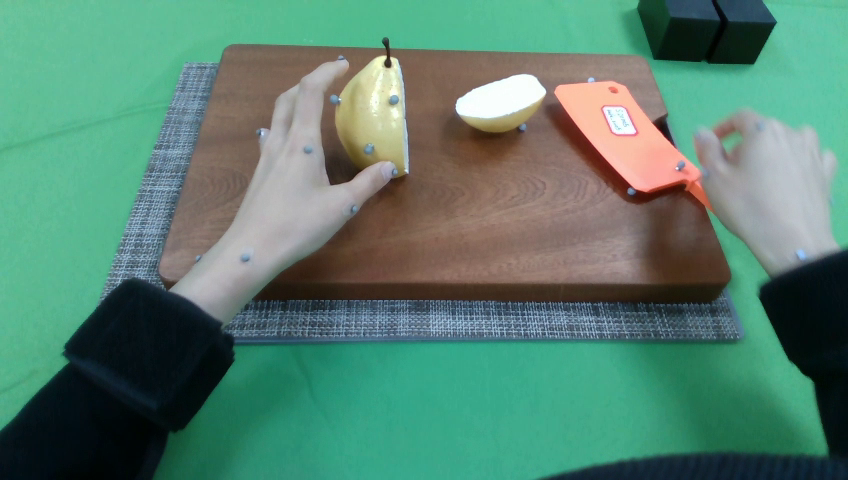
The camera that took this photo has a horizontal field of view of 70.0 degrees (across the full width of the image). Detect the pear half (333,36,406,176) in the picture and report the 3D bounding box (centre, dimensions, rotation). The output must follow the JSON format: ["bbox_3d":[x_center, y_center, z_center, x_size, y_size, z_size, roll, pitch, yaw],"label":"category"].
[{"bbox_3d":[-0.039,-0.100,0.441,0.056,0.111,0.075,-5,49,-7],"label":"pear half"}]

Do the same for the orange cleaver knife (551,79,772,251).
[{"bbox_3d":[0.183,-0.066,0.487,0.077,0.012,0.209,-21,59,-24],"label":"orange cleaver knife"}]

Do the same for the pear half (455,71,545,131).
[{"bbox_3d":[0.065,-0.112,0.505,0.070,0.031,0.088,21,43,30],"label":"pear half"}]
